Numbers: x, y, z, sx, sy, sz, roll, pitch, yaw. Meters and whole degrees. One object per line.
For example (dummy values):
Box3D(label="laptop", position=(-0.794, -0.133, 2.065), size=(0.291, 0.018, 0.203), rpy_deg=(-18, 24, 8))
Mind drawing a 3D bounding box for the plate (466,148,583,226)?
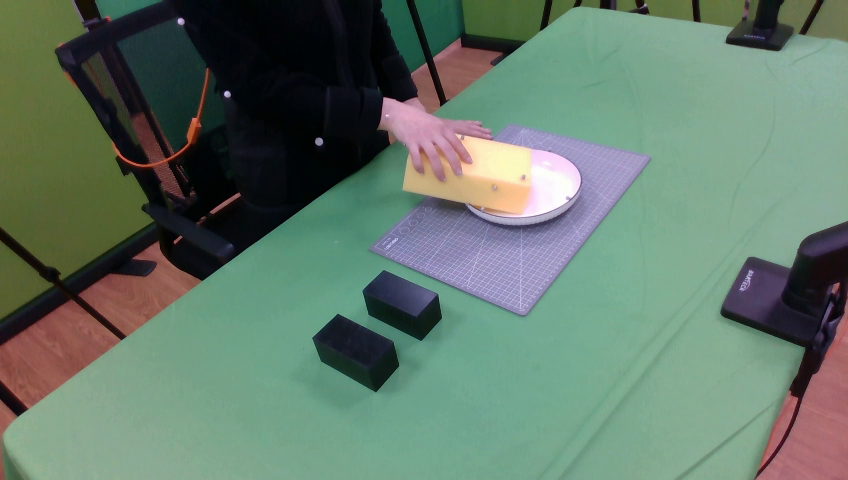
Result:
Box3D(label="plate", position=(0.167, -0.089, 1.043), size=(0.209, 0.038, 0.208), rpy_deg=(-5, 40, 5))

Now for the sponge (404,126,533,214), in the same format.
Box3D(label="sponge", position=(0.077, -0.120, 1.025), size=(0.207, 0.061, 0.118), rpy_deg=(11, 42, -2))
